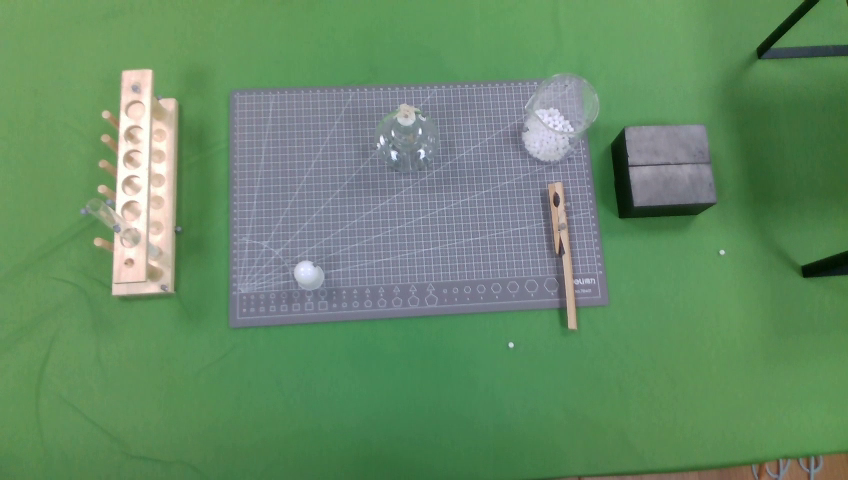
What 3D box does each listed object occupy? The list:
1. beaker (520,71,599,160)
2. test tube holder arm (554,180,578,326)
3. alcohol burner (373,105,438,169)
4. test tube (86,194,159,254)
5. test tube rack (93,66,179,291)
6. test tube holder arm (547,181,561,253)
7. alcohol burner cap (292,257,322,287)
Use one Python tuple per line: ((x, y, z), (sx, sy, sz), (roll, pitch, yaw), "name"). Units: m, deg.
((0.155, -0.143, 0.725), (0.084, 0.100, 0.073), (-4, 77, -2), "beaker")
((0.170, 0.015, 0.730), (0.013, 0.015, 0.177), (-11, 78, 26), "test tube holder arm")
((-0.022, -0.127, 0.705), (0.078, 0.119, 0.077), (0, 78, 0), "alcohol burner")
((-0.310, -0.013, 0.633), (0.017, 0.151, 0.017), (1, 72, -2), "test tube")
((-0.332, -0.068, 0.695), (0.067, 0.085, 0.241), (-3, 77, -3), "test tube rack")
((0.161, -0.028, 0.741), (0.010, 0.015, 0.087), (-9, 78, 27), "test tube holder arm")
((-0.138, 0.035, 0.700), (0.034, 0.048, 0.033), (1, 77, -4), "alcohol burner cap")
